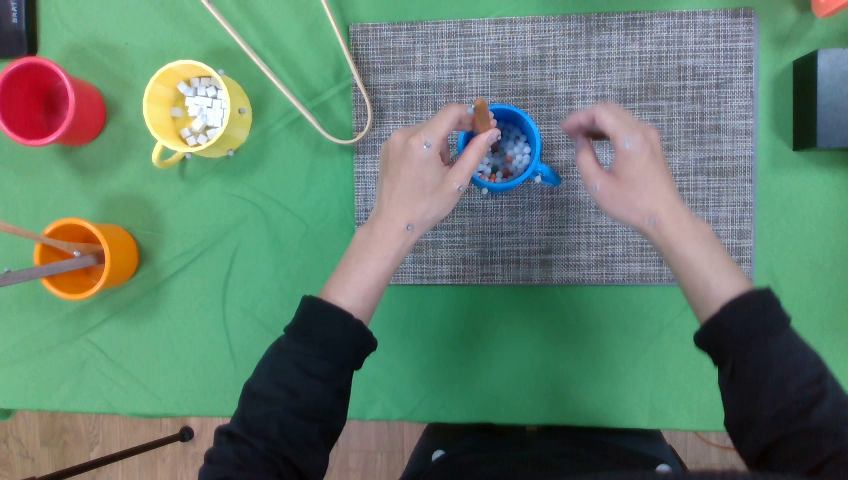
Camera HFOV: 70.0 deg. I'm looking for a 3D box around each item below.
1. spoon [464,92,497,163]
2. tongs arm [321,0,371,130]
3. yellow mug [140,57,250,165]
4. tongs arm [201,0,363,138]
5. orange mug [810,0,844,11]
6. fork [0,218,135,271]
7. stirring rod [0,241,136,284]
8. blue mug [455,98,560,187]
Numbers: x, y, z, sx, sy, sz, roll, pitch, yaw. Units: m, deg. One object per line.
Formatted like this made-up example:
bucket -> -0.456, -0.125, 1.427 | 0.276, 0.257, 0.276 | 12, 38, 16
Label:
spoon -> 0.054, -0.103, 0.573 | 0.041, 0.194, 0.021 | -30, 85, 2
tongs arm -> -0.141, -0.305, 0.668 | 0.028, 0.027, 0.388 | -26, 98, -3
yellow mug -> -0.268, -0.138, 0.691 | 0.100, 0.064, 0.131 | 38, 97, 1
tongs arm -> -0.211, -0.258, 0.673 | 0.051, 0.026, 0.386 | -39, 97, 3
orange mug -> 0.411, -0.304, 0.611 | 0.083, 0.101, 0.126 | -10, 88, 6
fork -> -0.427, -0.006, 0.670 | 0.209, 0.018, 0.028 | 26, 91, -41
stirring rod -> -0.417, 0.028, 0.678 | 0.177, 0.006, 0.014 | -17, 88, -36
blue mug -> 0.091, -0.093, 0.642 | 0.116, 0.106, 0.082 | 27, 95, 3
